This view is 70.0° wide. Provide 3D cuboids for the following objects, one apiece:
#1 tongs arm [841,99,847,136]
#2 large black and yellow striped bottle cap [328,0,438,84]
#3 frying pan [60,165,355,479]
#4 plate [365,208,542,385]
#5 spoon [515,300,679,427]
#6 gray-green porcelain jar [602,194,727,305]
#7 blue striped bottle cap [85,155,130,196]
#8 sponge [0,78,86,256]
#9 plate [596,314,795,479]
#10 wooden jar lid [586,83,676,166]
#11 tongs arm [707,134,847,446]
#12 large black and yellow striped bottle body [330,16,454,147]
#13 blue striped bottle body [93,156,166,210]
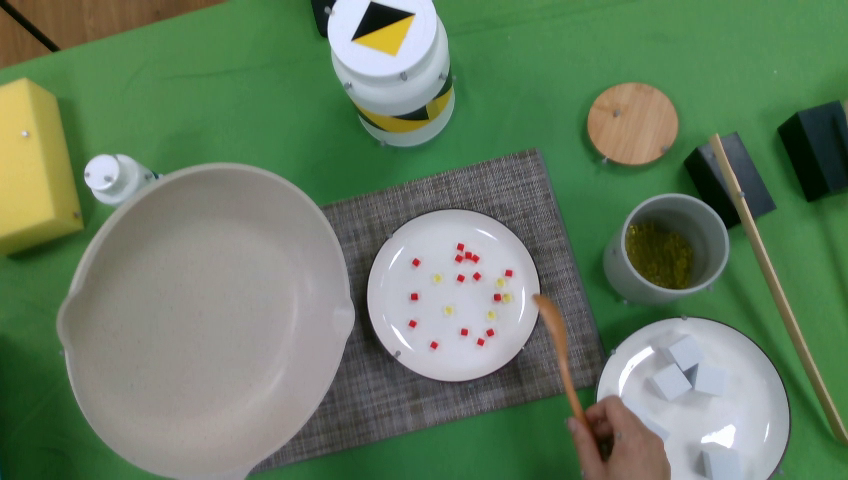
[{"bbox_3d":[0.487,0.034,0.662,0.028,0.028,0.387,-6,88,-3],"label":"tongs arm"},{"bbox_3d":[-0.042,-0.219,0.631,0.115,0.019,0.114,-1,80,6],"label":"large black and yellow striped bottle cap"},{"bbox_3d":[-0.195,0.178,0.570,0.102,0.309,0.486,-7,79,38],"label":"frying pan"},{"bbox_3d":[0.035,0.066,0.724,0.209,0.038,0.208,-1,79,6],"label":"plate"},{"bbox_3d":[0.172,0.125,0.618,0.192,0.022,0.041,37,81,30],"label":"spoon"},{"bbox_3d":[0.258,0.017,0.670,0.106,0.127,0.105,-1,78,6],"label":"gray-green porcelain jar"},{"bbox_3d":[-0.366,-0.075,0.700,0.044,0.021,0.044,-1,81,5],"label":"blue striped bottle cap"},{"bbox_3d":[-0.542,-0.095,0.804,0.118,0.061,0.206,-20,78,1],"label":"sponge"},{"bbox_3d":[0.297,0.188,0.678,0.207,0.039,0.206,-1,79,6],"label":"plate"},{"bbox_3d":[0.256,-0.142,0.756,0.108,0.021,0.108,-1,80,6],"label":"wooden jar lid"},{"bbox_3d":[0.405,0.056,0.665,0.051,0.026,0.384,-20,88,0],"label":"tongs arm"},{"bbox_3d":[-0.034,-0.200,0.712,0.130,0.185,0.130,-1,78,6],"label":"large black and yellow striped bottle body"},{"bbox_3d":[-0.359,-0.064,0.749,0.063,0.121,0.063,-1,78,6],"label":"blue striped bottle body"}]
